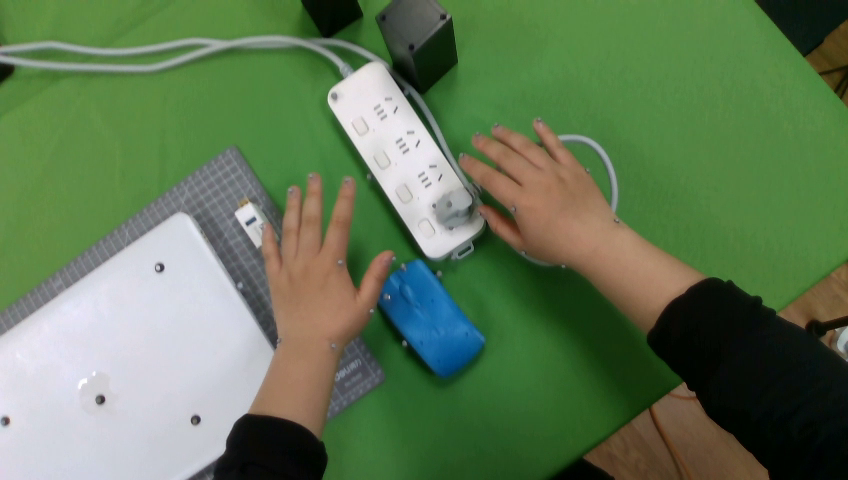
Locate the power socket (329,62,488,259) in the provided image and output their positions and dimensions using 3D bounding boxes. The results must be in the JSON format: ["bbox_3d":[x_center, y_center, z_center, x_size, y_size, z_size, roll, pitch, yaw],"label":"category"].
[{"bbox_3d":[-0.017,-0.082,0.621,0.072,0.033,0.226,-33,82,3],"label":"power socket"}]

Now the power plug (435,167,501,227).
[{"bbox_3d":[0.046,-0.038,0.590,0.072,0.053,0.035,-22,84,3],"label":"power plug"}]

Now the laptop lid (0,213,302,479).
[{"bbox_3d":[-0.328,0.161,0.626,0.357,0.013,0.241,-33,85,2],"label":"laptop lid"}]

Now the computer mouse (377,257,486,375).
[{"bbox_3d":[0.005,0.075,0.603,0.063,0.041,0.116,-40,78,3],"label":"computer mouse"}]

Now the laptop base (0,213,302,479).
[{"bbox_3d":[-0.328,0.161,0.638,0.354,0.023,0.235,-35,85,2],"label":"laptop base"}]

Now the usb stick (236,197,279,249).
[{"bbox_3d":[-0.177,-0.021,0.633,0.021,0.027,0.059,-32,78,-2],"label":"usb stick"}]
